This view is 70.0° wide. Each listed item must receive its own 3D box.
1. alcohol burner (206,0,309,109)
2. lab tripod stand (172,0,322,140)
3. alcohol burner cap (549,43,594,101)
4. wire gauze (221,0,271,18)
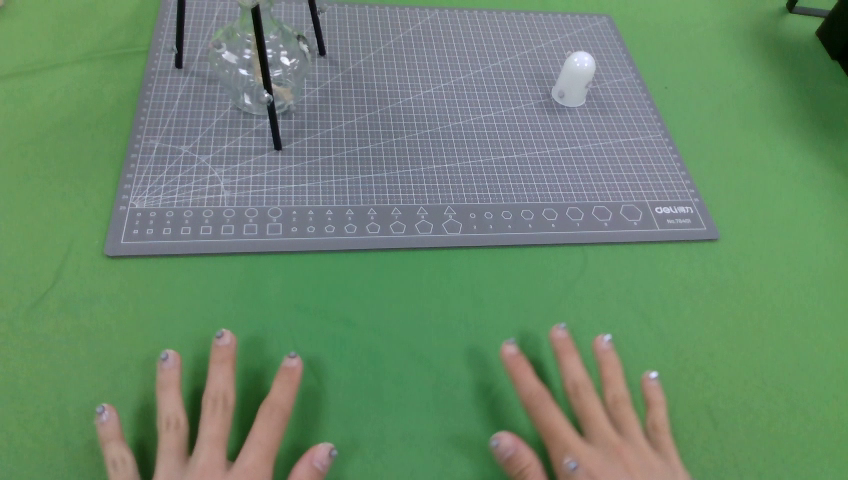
[{"bbox_3d":[-0.127,-0.160,0.459,0.078,0.120,0.077,5,53,-7],"label":"alcohol burner"},{"bbox_3d":[-0.129,-0.171,0.455,0.149,0.132,0.147,5,54,-7],"label":"lab tripod stand"},{"bbox_3d":[0.133,-0.152,0.540,0.034,0.048,0.033,4,53,-5],"label":"alcohol burner cap"},{"bbox_3d":[-0.123,-0.209,0.402,0.124,0.011,0.121,32,59,9],"label":"wire gauze"}]
